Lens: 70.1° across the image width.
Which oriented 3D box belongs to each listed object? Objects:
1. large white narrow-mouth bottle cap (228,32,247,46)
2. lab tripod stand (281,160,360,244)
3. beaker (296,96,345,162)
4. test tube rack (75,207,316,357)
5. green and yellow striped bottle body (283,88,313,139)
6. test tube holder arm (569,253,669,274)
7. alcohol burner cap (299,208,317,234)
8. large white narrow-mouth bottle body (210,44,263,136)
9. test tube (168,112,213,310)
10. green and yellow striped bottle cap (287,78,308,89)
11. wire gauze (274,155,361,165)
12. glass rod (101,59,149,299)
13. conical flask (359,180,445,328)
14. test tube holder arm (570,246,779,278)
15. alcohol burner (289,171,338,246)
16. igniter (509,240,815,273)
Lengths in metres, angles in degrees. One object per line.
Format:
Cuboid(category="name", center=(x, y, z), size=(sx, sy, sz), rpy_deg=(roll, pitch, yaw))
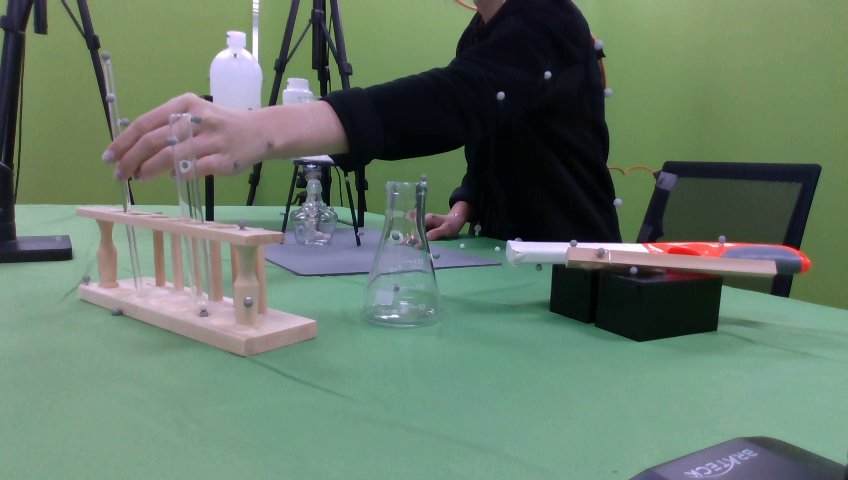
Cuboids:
Cuboid(category="large white narrow-mouth bottle cap", center=(-0.364, -0.390, 1.180), size=(0.038, 0.024, 0.037), rpy_deg=(3, 8, 0))
Cuboid(category="lab tripod stand", center=(-0.170, -0.063, 0.983), size=(0.148, 0.131, 0.148), rpy_deg=(1, 6, 0))
Cuboid(category="beaker", center=(-0.163, -0.175, 0.966), size=(0.083, 0.100, 0.074), rpy_deg=(7, 8, 34))
Cuboid(category="test tube rack", center=(-0.196, 0.023, 0.499), size=(0.241, 0.085, 0.067), rpy_deg=(8, 9, 36))
Cuboid(category="green and yellow striped bottle body", center=(-0.266, -0.275, 1.275), size=(0.063, 0.119, 0.063), rpy_deg=(3, 7, 0))
Cuboid(category="test tube holder arm", center=(0.172, 0.020, 0.532), size=(0.088, 0.015, 0.010), rpy_deg=(3, -25, 3))
Cuboid(category="alcohol burner cap", center=(-0.213, -0.035, 1.110), size=(0.034, 0.048, 0.034), rpy_deg=(2, 7, 0))
Cuboid(category="large white narrow-mouth bottle body", center=(-0.369, -0.305, 1.194), size=(0.102, 0.194, 0.102), rpy_deg=(3, 8, 0))
Cuboid(category="test tube", center=(-0.175, -0.020, 0.455), size=(0.017, 0.150, 0.017), rpy_deg=(-3, 9, 1))
Cuboid(category="green and yellow striped bottle cap", center=(-0.265, -0.326, 1.268), size=(0.045, 0.020, 0.045), rpy_deg=(4, 6, 0))
Cuboid(category="wire gauze", center=(-0.174, -0.129, 0.978), size=(0.125, 0.011, 0.121), rpy_deg=(-2, 6, -19))
Cuboid(category="glass rod", center=(-0.244, -0.045, 0.496), size=(0.008, 0.199, 0.008), rpy_deg=(-3, 12, 1))
Cuboid(category="conical flask", center=(-0.017, 0.010, 0.522), size=(0.075, 0.122, 0.075), rpy_deg=(2, 7, 0))
Cuboid(category="test tube holder arm", center=(0.217, 0.020, 0.525), size=(0.178, 0.015, 0.013), rpy_deg=(4, -25, 2))
Cuboid(category="alcohol burner", center=(-0.177, -0.051, 0.968), size=(0.078, 0.119, 0.078), rpy_deg=(1, 6, 0))
Cuboid(category="igniter", center=(0.220, 0.015, 0.566), size=(0.277, 0.025, 0.057), rpy_deg=(2, 16, 0))
